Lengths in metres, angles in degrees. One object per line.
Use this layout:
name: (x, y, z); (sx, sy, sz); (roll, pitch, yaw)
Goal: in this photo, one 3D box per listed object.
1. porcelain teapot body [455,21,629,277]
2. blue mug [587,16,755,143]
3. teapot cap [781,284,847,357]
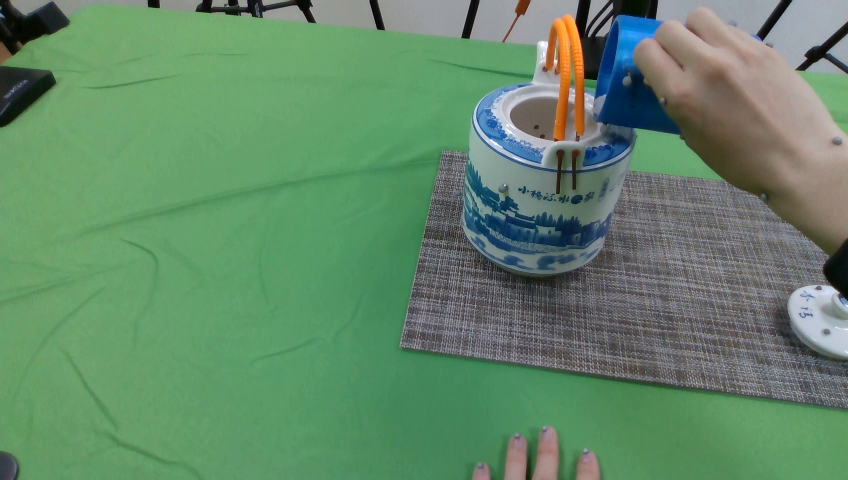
porcelain teapot body: (0.107, -0.103, 0.571); (0.145, 0.227, 0.203); (2, 43, -2)
blue mug: (0.187, -0.123, 0.461); (0.106, 0.082, 0.116); (10, 12, 5)
teapot cap: (0.366, 0.067, 0.541); (0.085, 0.044, 0.084); (3, 42, -3)
